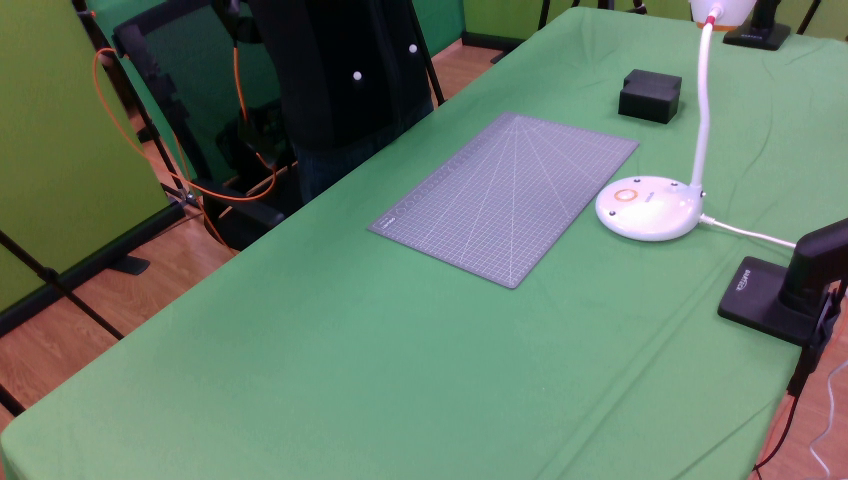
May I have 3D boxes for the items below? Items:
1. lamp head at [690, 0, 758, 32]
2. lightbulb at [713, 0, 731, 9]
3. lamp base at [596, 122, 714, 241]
[{"bbox_3d":[0.434,-0.363,0.870,0.112,0.123,0.112,2,28,0],"label":"lamp head"},{"bbox_3d":[0.432,-0.387,0.864,0.059,0.108,0.059,-5,31,4],"label":"lightbulb"},{"bbox_3d":[0.363,-0.110,0.921,0.178,0.181,0.160,13,45,21],"label":"lamp base"}]
